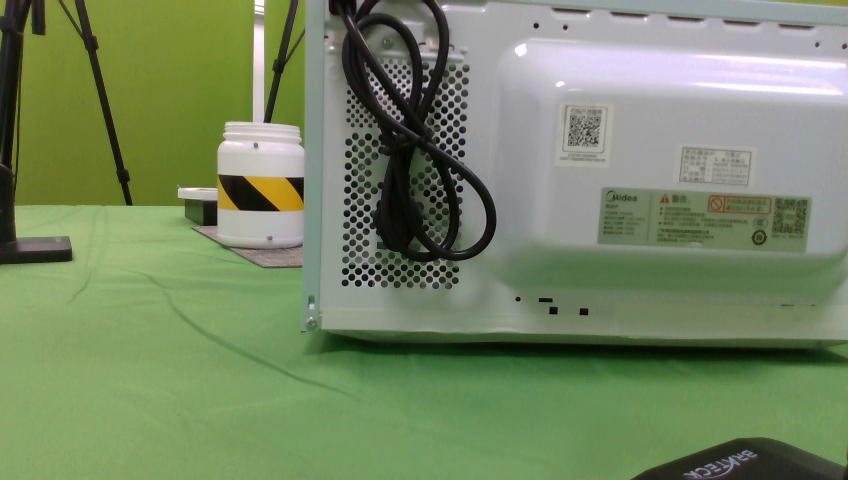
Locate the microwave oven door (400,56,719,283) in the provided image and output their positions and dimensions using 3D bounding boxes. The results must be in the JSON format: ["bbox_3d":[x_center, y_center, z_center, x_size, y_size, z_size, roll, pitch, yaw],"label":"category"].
[{"bbox_3d":[0.155,-0.077,0.698,0.356,0.243,0.039,2,8,-5],"label":"microwave oven door"}]

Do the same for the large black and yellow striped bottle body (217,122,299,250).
[{"bbox_3d":[-0.250,-0.084,0.931,0.131,0.184,0.130,2,7,0],"label":"large black and yellow striped bottle body"}]

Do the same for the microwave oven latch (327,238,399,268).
[{"bbox_3d":[-0.069,0.015,0.694,0.079,0.029,0.030,3,7,-3],"label":"microwave oven latch"}]

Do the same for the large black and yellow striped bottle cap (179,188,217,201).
[{"bbox_3d":[-0.434,-0.093,1.226,0.115,0.019,0.115,3,9,0],"label":"large black and yellow striped bottle cap"}]

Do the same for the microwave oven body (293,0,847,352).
[{"bbox_3d":[0.122,-0.055,0.550,0.442,0.260,0.325,3,7,-5],"label":"microwave oven body"}]
